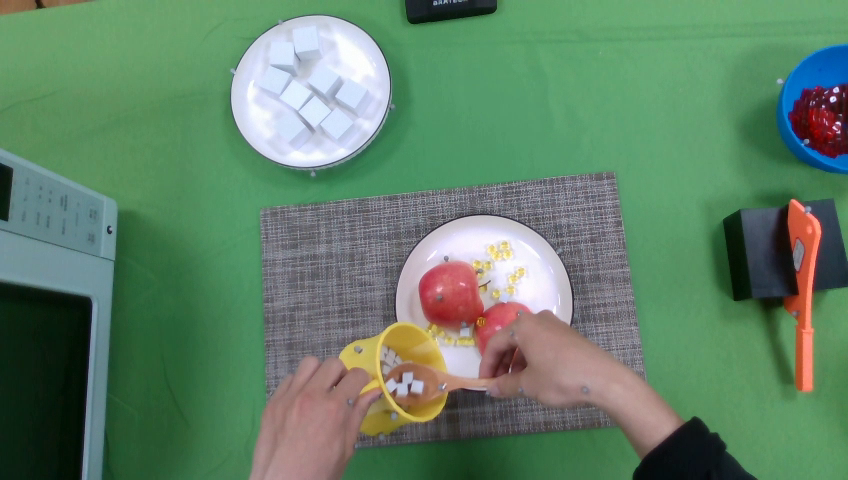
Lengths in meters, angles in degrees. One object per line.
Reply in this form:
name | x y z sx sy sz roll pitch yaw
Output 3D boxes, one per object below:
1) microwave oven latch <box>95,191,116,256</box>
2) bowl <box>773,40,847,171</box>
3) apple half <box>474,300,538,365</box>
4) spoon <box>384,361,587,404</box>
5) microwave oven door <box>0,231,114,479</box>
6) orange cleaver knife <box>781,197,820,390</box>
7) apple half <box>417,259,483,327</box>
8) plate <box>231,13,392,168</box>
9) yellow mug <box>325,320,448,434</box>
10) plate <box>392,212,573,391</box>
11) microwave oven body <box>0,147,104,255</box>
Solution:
microwave oven latch | -0.405 -0.020 0.755 0.030 0.029 0.079 -1 80 4
bowl | 0.473 -0.143 0.702 0.151 0.077 0.151 -1 80 5
apple half | 0.095 0.107 0.700 0.081 0.033 0.081 -1 77 6
spoon | 0.055 0.135 0.576 0.193 0.022 0.041 -5 71 18
microwave oven door | -0.409 0.177 0.616 0.039 0.245 0.354 -3 79 5
orange cleaver knife | 0.412 0.059 0.669 0.012 0.077 0.212 -5 103 8
apple half | 0.029 0.060 0.704 0.074 0.053 0.080 -8 80 6
plate | -0.142 -0.190 0.783 0.207 0.039 0.207 -1 80 5
yellow mug | -0.042 0.140 0.597 0.064 0.131 0.099 -29 78 37
plate | 0.067 0.071 0.714 0.209 0.038 0.208 -1 80 4
microwave oven body | -0.555 0.142 0.640 0.326 0.261 0.440 -3 80 4
